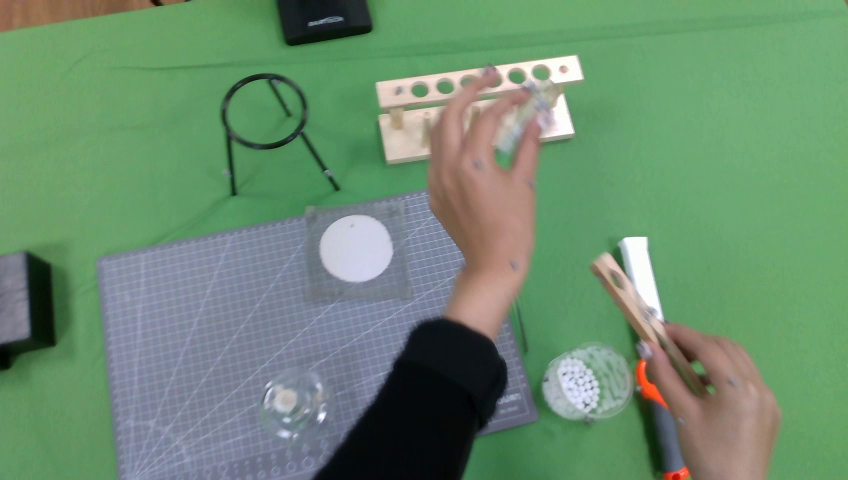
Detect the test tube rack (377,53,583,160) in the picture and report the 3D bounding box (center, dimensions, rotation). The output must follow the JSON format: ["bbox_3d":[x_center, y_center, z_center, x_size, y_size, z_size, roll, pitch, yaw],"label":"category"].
[{"bbox_3d":[0.068,-0.163,0.746,0.243,0.085,0.066,-9,72,-5],"label":"test tube rack"}]

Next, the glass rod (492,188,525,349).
[{"bbox_3d":[0.100,0.031,0.724,0.008,0.008,0.198,-7,75,-5],"label":"glass rod"}]

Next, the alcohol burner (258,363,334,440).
[{"bbox_3d":[-0.133,0.161,0.613,0.078,0.120,0.077,0,71,0],"label":"alcohol burner"}]

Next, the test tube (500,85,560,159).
[{"bbox_3d":[0.085,-0.094,0.506,0.017,0.150,0.017,1,82,-4],"label":"test tube"}]

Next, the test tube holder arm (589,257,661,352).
[{"bbox_3d":[0.164,0.052,0.487,0.010,0.015,0.087,-36,88,-10],"label":"test tube holder arm"}]

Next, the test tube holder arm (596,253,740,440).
[{"bbox_3d":[0.195,0.085,0.487,0.013,0.015,0.178,-37,88,-11],"label":"test tube holder arm"}]

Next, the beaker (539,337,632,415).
[{"bbox_3d":[0.163,0.147,0.643,0.084,0.101,0.073,18,71,5],"label":"beaker"}]

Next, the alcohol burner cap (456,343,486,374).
[{"bbox_3d":[0.054,0.129,0.670,0.034,0.048,0.033,1,72,-2],"label":"alcohol burner cap"}]

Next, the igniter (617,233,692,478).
[{"bbox_3d":[0.262,0.124,0.693,0.057,0.025,0.274,-1,72,-14],"label":"igniter"}]

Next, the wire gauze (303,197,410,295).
[{"bbox_3d":[-0.081,0.007,0.722,0.125,0.011,0.120,-1,73,-4],"label":"wire gauze"}]

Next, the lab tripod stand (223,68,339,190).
[{"bbox_3d":[-0.170,-0.119,0.695,0.148,0.132,0.147,1,74,-2],"label":"lab tripod stand"}]
